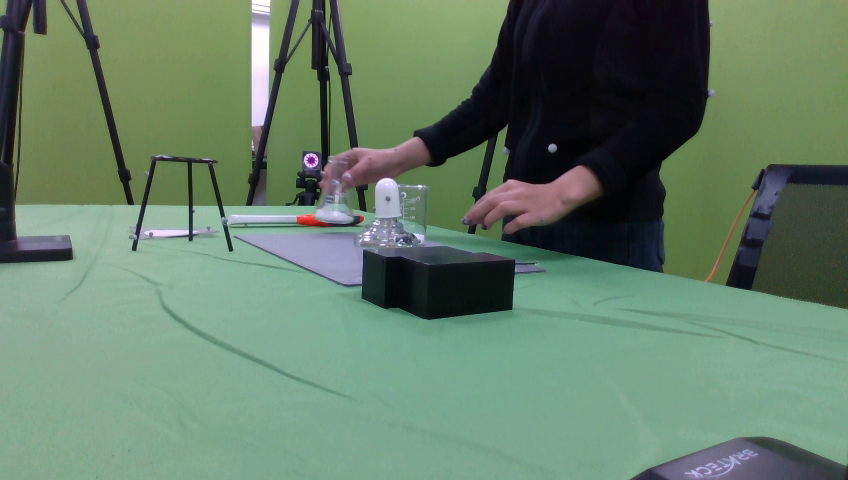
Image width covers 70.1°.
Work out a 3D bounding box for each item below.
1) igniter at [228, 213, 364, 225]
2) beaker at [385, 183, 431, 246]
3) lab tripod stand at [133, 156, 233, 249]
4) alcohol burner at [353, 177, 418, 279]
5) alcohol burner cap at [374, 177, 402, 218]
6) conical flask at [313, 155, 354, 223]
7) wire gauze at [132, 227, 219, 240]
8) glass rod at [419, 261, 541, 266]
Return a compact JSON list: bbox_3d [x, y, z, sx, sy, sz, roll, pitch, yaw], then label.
[{"bbox_3d":[-0.252,-0.042,1.227,0.278,0.025,0.057,-2,-2,-32],"label":"igniter"},{"bbox_3d":[-0.031,-0.043,1.000,0.084,0.100,0.074,4,7,15],"label":"beaker"},{"bbox_3d":[-0.342,-0.054,0.878,0.148,0.131,0.148,4,6,0],"label":"lab tripod stand"},{"bbox_3d":[-0.044,-0.014,0.710,0.078,0.119,0.078,4,9,0],"label":"alcohol burner"},{"bbox_3d":[-0.044,-0.049,0.704,0.034,0.048,0.034,-5,10,1],"label":"alcohol burner cap"},{"bbox_3d":[-0.163,-0.095,1.120,0.075,0.122,0.075,5,7,0],"label":"conical flask"},{"bbox_3d":[-0.421,-0.014,1.024,0.122,0.011,0.124,-2,7,-34],"label":"wire gauze"},{"bbox_3d":[0.080,0.031,0.807,0.201,0.008,0.008,1,6,-32],"label":"glass rod"}]
